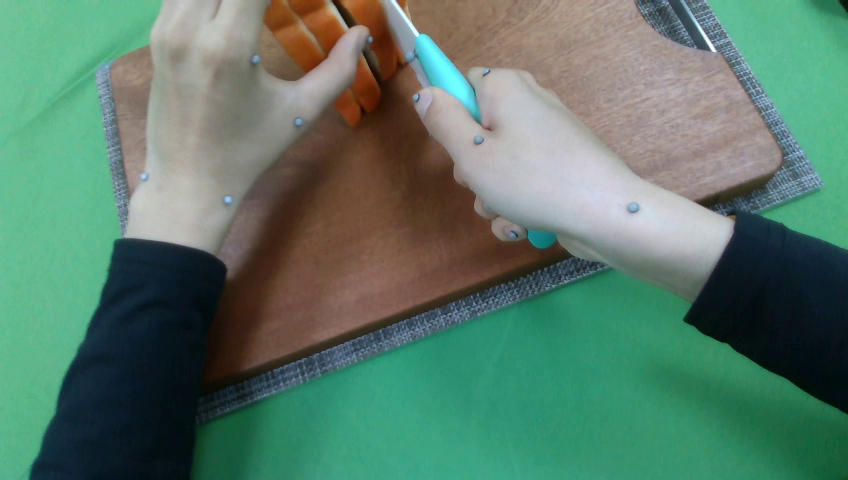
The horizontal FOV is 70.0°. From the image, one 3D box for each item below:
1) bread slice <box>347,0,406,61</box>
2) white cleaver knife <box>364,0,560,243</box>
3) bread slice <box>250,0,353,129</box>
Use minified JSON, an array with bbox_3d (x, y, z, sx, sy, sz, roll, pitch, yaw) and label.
[{"bbox_3d":[-0.042,-0.190,0.377,0.019,0.132,0.104,-30,69,-11],"label":"bread slice"},{"bbox_3d":[-0.006,-0.118,0.362,0.021,0.066,0.285,-32,77,-1],"label":"white cleaver knife"},{"bbox_3d":[-0.086,-0.144,0.369,0.018,0.135,0.106,-27,66,3],"label":"bread slice"}]
